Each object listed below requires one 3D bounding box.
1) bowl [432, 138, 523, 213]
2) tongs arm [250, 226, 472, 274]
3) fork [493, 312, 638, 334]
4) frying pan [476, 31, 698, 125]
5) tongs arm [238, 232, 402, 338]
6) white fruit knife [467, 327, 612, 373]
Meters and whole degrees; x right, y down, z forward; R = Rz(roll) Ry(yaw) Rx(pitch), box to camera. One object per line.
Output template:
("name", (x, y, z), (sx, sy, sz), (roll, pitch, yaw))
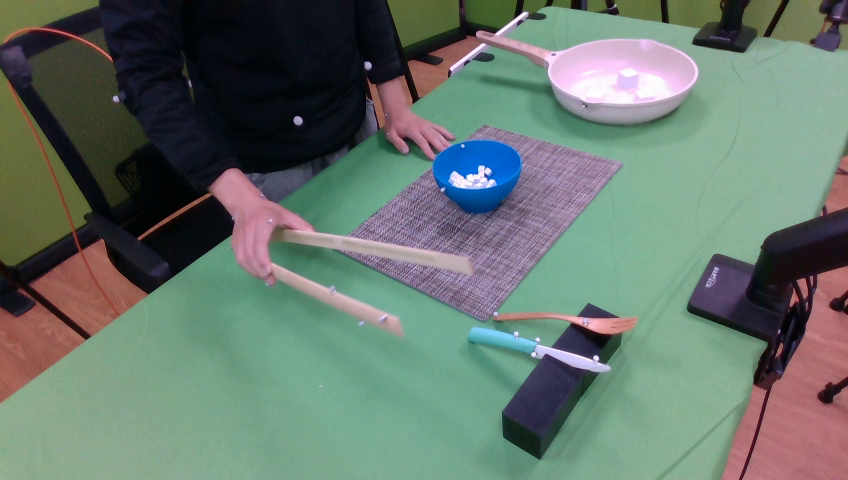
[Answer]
("bowl", (0.091, -0.100, 1.021), (0.151, 0.077, 0.150), (-4, 41, 4))
("tongs arm", (-0.100, 0.011, 0.813), (0.384, 0.028, 0.028), (7, 42, 36))
("fork", (0.173, 0.103, 0.774), (0.206, 0.019, 0.028), (0, 41, 40))
("frying pan", (0.321, -0.371, 1.290), (0.484, 0.103, 0.307), (29, 51, 23))
("tongs arm", (-0.144, 0.046, 0.774), (0.381, 0.026, 0.051), (15, 43, 44))
("white fruit knife", (0.134, 0.134, 0.742), (0.205, 0.027, 0.016), (7, 34, 41))
